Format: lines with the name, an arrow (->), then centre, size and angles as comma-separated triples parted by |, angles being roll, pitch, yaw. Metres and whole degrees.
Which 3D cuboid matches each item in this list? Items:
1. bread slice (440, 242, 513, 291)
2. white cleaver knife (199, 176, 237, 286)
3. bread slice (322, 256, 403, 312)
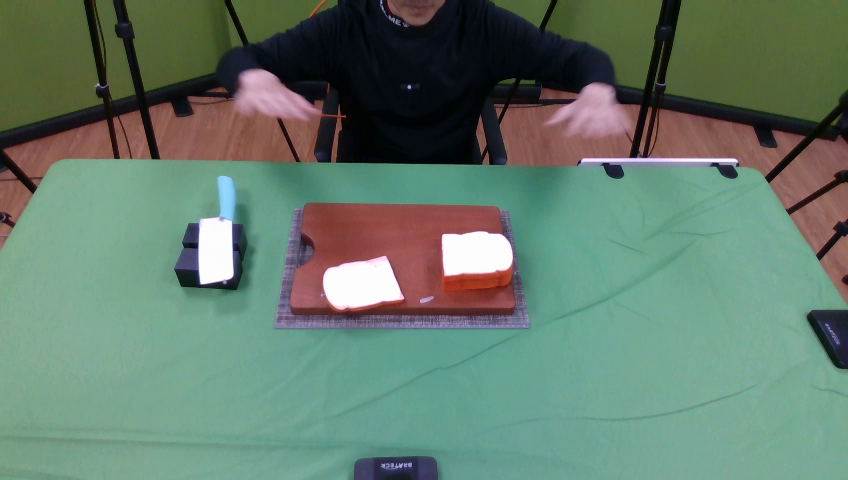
bread slice -> 0.096, 0.047, 1.116 | 0.134, 0.018, 0.106 | 0, 49, 2
white cleaver knife -> -0.386, -0.026, 1.134 | 0.066, 0.021, 0.284 | -6, 45, -11
bread slice -> -0.114, 0.080, 1.069 | 0.132, 0.019, 0.104 | -10, 51, -18
